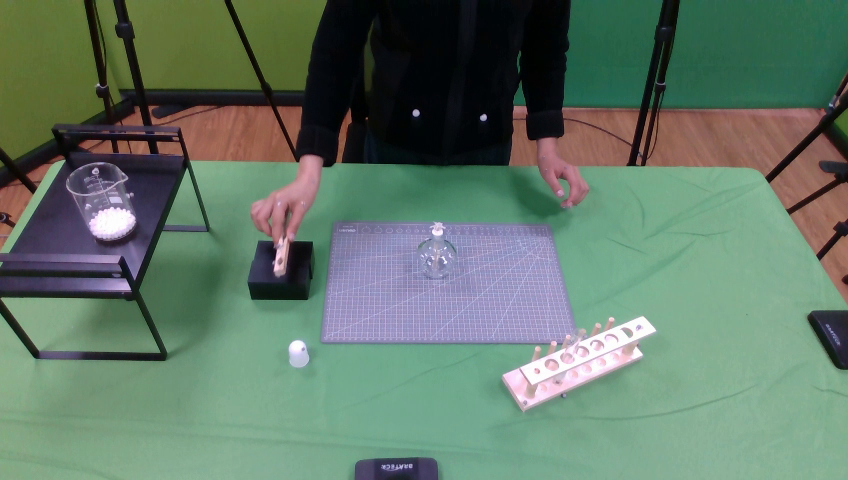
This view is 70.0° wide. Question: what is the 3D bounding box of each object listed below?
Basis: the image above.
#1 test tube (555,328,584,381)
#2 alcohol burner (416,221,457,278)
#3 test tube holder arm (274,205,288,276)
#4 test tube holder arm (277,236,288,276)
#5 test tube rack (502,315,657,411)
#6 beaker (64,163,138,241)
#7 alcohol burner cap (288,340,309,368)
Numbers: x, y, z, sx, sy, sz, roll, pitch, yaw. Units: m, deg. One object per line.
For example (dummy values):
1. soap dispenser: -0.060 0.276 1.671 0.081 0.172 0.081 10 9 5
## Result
1. test tube: 0.221 0.178 0.926 0.017 0.151 0.017 0 51 0
2. alcohol burner: 0.024 0.013 1.116 0.078 0.120 0.077 1 45 -1
3. test tube holder arm: -0.255 -0.003 1.082 0.013 0.015 0.177 -4 43 -5
4. test tube holder arm: -0.245 0.027 1.050 0.010 0.015 0.087 -3 43 -5
5. test tube rack: 0.253 0.186 0.989 0.242 0.085 0.066 -18 50 -20
6. beaker: -0.477 -0.055 0.910 0.084 0.101 0.073 -9 48 -13
7. alcohol burner cap: -0.207 0.183 0.991 0.034 0.048 0.033 3 46 -3
